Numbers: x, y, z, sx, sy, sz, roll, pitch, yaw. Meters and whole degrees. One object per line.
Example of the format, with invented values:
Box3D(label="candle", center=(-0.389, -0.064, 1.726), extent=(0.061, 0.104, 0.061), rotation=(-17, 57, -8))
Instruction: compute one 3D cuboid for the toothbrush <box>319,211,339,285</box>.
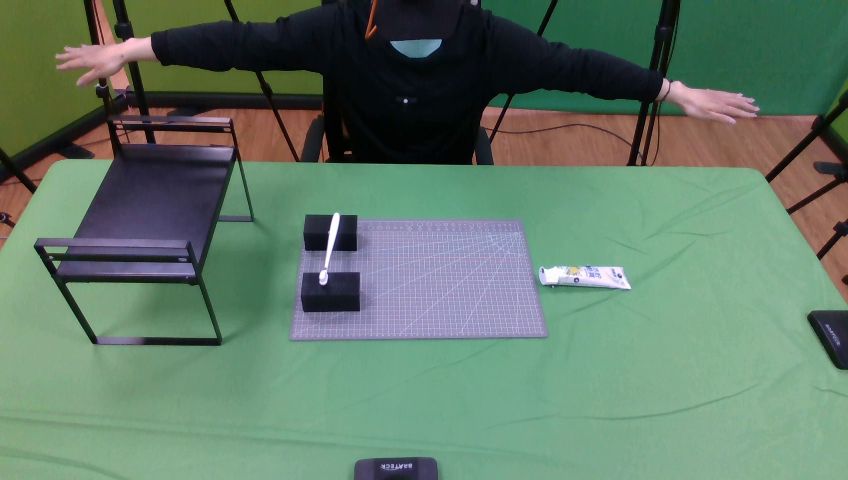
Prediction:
Box3D(label="toothbrush", center=(-0.172, 0.009, 1.103), extent=(0.014, 0.017, 0.180), rotation=(-5, 44, 8))

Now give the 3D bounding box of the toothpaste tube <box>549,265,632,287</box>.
Box3D(label="toothpaste tube", center=(0.309, 0.068, 1.147), extent=(0.165, 0.034, 0.054), rotation=(0, 52, -9))

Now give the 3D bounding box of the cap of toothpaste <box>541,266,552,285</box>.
Box3D(label="cap of toothpaste", center=(0.230, 0.065, 1.135), extent=(0.011, 0.037, 0.037), rotation=(-6, 47, -11))
